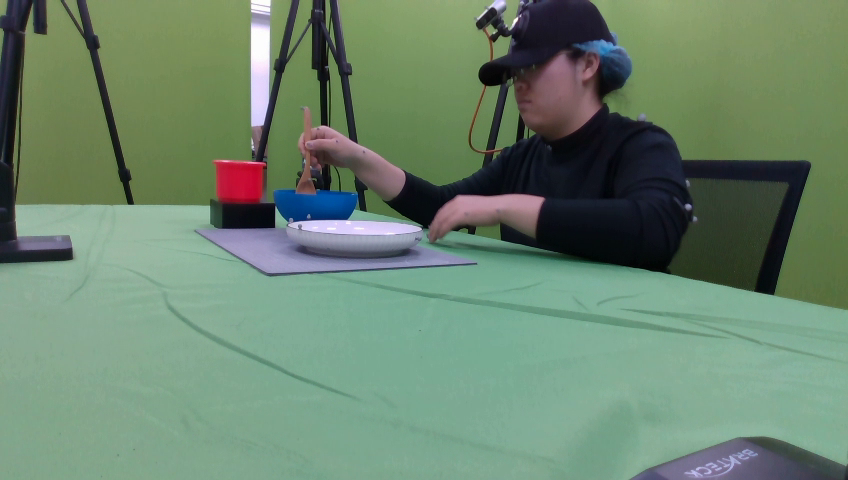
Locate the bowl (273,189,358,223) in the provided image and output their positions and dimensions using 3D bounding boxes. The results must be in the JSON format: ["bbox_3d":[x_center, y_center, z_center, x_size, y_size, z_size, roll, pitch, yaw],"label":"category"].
[{"bbox_3d":[-0.195,-0.049,1.084,0.151,0.077,0.151,2,7,0],"label":"bowl"}]

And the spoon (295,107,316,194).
[{"bbox_3d":[-0.218,-0.154,1.127,0.042,0.193,0.021,2,-1,-27],"label":"spoon"}]

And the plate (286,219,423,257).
[{"bbox_3d":[-0.105,-0.004,0.923,0.208,0.039,0.207,3,7,0],"label":"plate"}]
